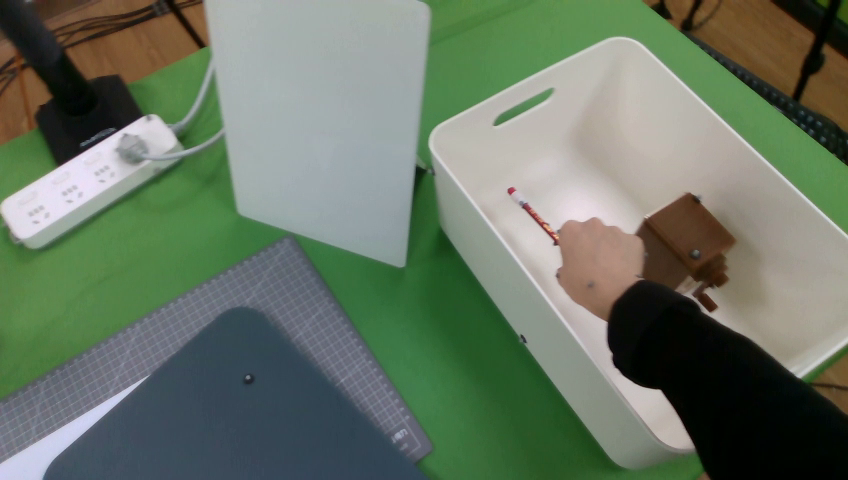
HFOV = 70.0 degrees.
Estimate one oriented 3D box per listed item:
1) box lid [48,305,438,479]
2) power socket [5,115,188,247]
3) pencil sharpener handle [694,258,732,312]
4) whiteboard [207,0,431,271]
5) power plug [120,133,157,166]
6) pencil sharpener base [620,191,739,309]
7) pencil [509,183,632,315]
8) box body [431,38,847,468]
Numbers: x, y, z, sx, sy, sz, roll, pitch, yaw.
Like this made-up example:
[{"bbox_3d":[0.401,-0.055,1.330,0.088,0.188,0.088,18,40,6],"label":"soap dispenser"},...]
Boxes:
[{"bbox_3d":[-0.151,0.251,0.569,0.369,0.015,0.263,39,69,19],"label":"box lid"},{"bbox_3d":[-0.395,-0.075,0.740,0.226,0.033,0.071,-37,67,-17],"label":"power socket"},{"bbox_3d":[0.288,0.046,0.593,0.036,0.068,0.030,-30,65,-12],"label":"pencil sharpener handle"},{"bbox_3d":[-0.083,-0.148,0.650,0.216,0.308,0.143,18,45,12],"label":"whiteboard"},{"bbox_3d":[-0.338,-0.097,0.724,0.035,0.053,0.072,-28,66,-12],"label":"power plug"},{"bbox_3d":[0.260,0.015,0.624,0.061,0.108,0.076,-29,65,-15],"label":"pencil sharpener base"},{"bbox_3d":[0.147,0.006,0.623,0.012,0.012,0.192,-30,59,-13],"label":"pencil"},{"bbox_3d":[0.201,0.008,0.605,0.254,0.161,0.361,-29,65,-13],"label":"box body"}]
